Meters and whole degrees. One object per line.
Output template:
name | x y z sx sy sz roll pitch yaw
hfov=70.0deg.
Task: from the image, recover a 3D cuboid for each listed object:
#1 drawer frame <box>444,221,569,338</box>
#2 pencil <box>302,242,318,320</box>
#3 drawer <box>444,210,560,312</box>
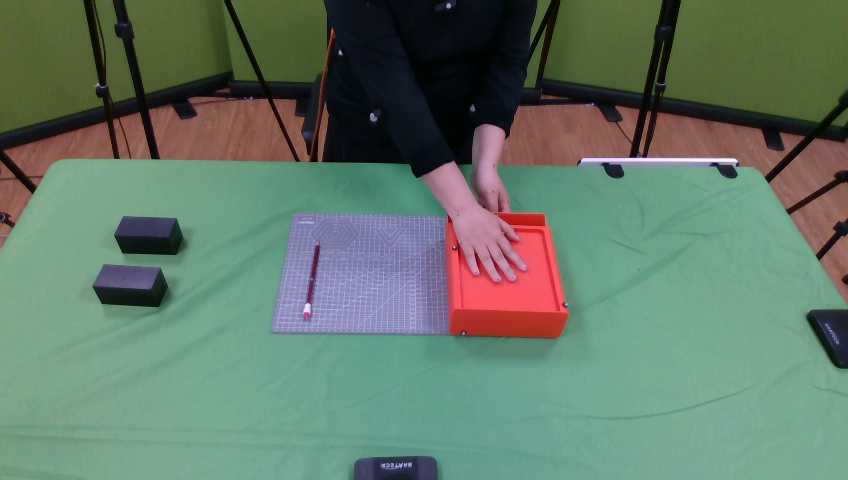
drawer frame | 0.141 0.068 1.098 0.202 0.083 0.212 2 46 -4
pencil | -0.209 0.070 1.119 0.012 0.012 0.193 2 44 -3
drawer | 0.139 0.042 1.122 0.195 0.073 0.210 2 47 -4
